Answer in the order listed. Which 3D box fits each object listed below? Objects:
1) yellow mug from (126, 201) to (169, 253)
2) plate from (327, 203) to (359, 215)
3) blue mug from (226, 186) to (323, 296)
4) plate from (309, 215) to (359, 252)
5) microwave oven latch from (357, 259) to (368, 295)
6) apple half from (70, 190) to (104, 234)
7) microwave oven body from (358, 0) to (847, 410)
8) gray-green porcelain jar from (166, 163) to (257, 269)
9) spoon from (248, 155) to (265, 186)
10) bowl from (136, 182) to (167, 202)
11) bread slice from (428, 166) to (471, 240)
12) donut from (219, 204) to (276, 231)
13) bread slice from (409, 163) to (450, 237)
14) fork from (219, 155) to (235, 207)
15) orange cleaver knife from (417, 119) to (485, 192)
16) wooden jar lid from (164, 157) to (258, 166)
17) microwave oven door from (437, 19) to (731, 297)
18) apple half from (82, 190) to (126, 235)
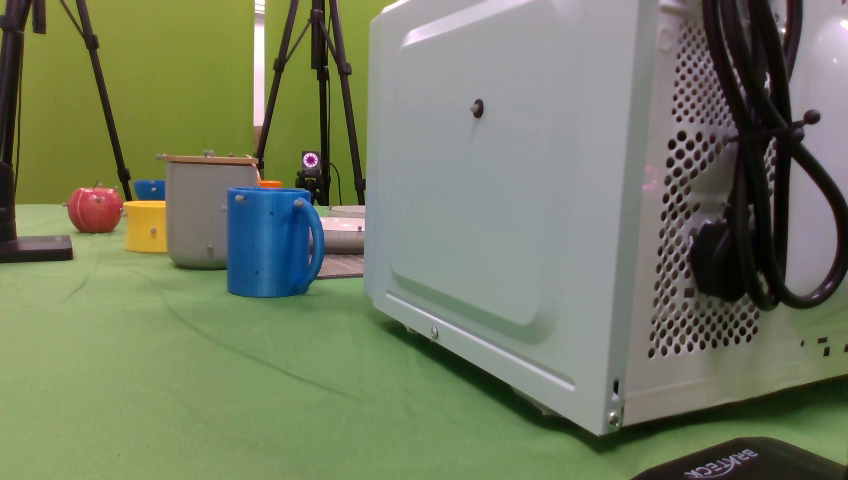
[{"bbox_3d":[-0.361,-0.019,0.866,0.130,0.064,0.100,6,9,27],"label":"yellow mug"},{"bbox_3d":[-0.102,-0.053,1.299,0.209,0.038,0.209,2,8,0],"label":"plate"},{"bbox_3d":[-0.148,0.000,0.618,0.116,0.106,0.083,7,9,33],"label":"blue mug"},{"bbox_3d":[-0.130,-0.011,0.945,0.208,0.039,0.207,2,7,0],"label":"plate"},{"bbox_3d":[-0.019,0.031,0.529,0.079,0.029,0.030,-1,7,-26],"label":"microwave oven latch"},{"bbox_3d":[-0.552,-0.048,1.010,0.053,0.074,0.081,-1,10,26],"label":"apple half"},{"bbox_3d":[0.210,-0.051,0.471,0.444,0.260,0.324,-1,7,-28],"label":"microwave oven body"},{"bbox_3d":[-0.263,-0.031,0.754,0.106,0.126,0.106,2,7,0],"label":"gray-green porcelain jar"},{"bbox_3d":[-0.417,-0.150,1.543,0.042,0.193,0.021,-4,-35,-34],"label":"spoon"},{"bbox_3d":[-0.497,-0.076,1.221,0.151,0.077,0.151,2,8,0],"label":"bowl"},{"bbox_3d":[0.048,-0.065,1.062,0.019,0.131,0.105,8,9,40],"label":"bread slice"},{"bbox_3d":[-0.316,-0.039,1.083,0.099,0.048,0.099,2,7,0],"label":"donut"},{"bbox_3d":[0.012,-0.072,1.103,0.018,0.134,0.107,-1,-1,37],"label":"bread slice"},{"bbox_3d":[-0.459,-0.134,1.415,0.028,0.018,0.207,-1,-34,-24],"label":"fork"},{"bbox_3d":[0.053,-0.140,1.131,0.012,0.077,0.212,16,-21,42],"label":"orange cleaver knife"},{"bbox_3d":[-0.261,-0.093,0.746,0.108,0.020,0.108,0,9,0],"label":"wooden jar lid"},{"bbox_3d":[0.181,-0.076,0.618,0.358,0.243,0.039,-2,9,-28],"label":"microwave oven door"},{"bbox_3d":[-0.516,-0.046,0.994,0.032,0.081,0.081,0,6,26],"label":"apple half"}]
